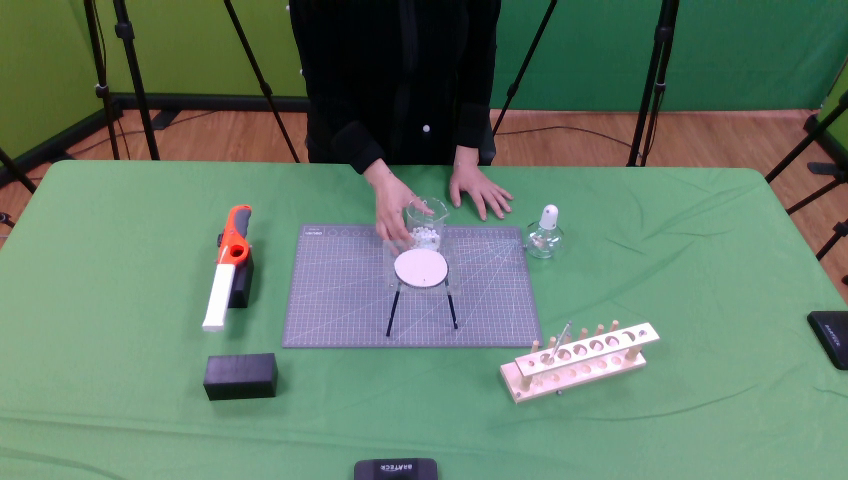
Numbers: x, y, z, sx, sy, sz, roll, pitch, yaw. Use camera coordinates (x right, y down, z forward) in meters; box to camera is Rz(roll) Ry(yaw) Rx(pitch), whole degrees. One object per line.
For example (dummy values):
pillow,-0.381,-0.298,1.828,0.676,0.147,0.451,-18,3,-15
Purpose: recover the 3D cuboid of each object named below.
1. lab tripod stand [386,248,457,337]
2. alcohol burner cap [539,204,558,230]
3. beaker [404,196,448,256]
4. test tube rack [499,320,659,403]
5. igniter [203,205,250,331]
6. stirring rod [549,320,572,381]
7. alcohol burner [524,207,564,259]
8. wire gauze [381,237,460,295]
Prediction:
lab tripod stand,-0.010,0.087,1.032,0.148,0.132,0.147,1,45,-1
alcohol burner cap,0.239,-0.045,1.148,0.034,0.048,0.033,2,43,-1
beaker,0.001,-0.024,1.164,0.084,0.101,0.073,6,47,0
test tube rack,0.252,0.187,0.994,0.243,0.085,0.066,-12,48,-15
igniter,-0.345,0.039,1.065,0.057,0.025,0.274,2,49,-6
stirring rod,0.202,0.167,0.901,0.006,0.177,0.014,-17,55,-11
alcohol burner,0.236,-0.020,1.174,0.078,0.120,0.077,1,48,-1
wire gauze,-0.007,0.040,0.983,0.125,0.011,0.120,1,44,-4
